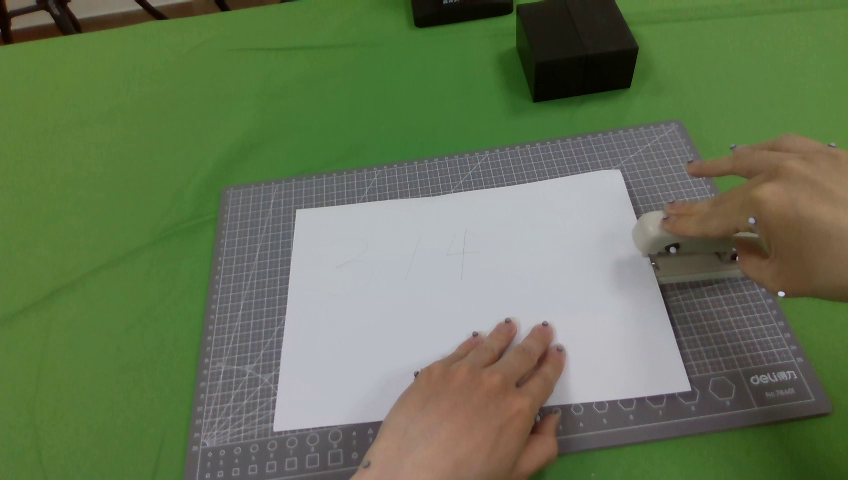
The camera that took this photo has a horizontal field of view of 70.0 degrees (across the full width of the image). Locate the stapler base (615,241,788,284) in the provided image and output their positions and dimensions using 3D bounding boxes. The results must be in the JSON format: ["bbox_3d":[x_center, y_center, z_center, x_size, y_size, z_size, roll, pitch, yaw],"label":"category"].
[{"bbox_3d":[0.222,0.008,0.482,0.130,0.024,0.041,-5,54,1],"label":"stapler base"}]

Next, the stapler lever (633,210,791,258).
[{"bbox_3d":[0.221,-0.007,0.464,0.118,0.040,0.026,-6,54,2],"label":"stapler lever"}]
